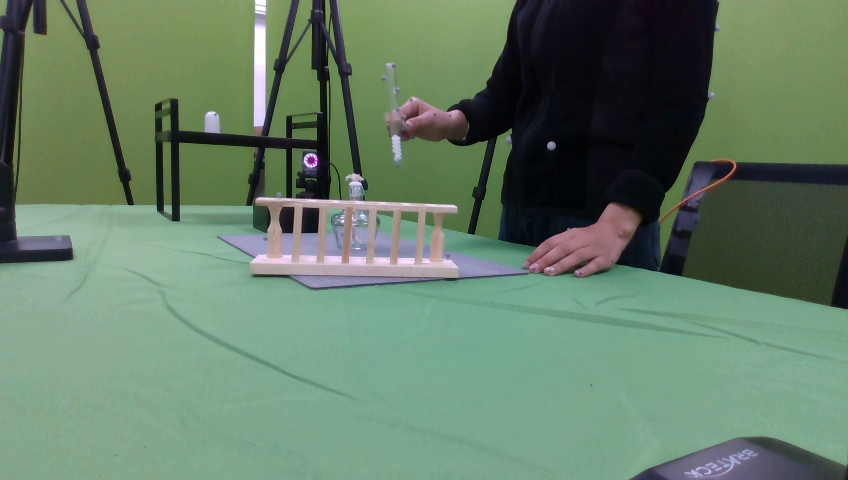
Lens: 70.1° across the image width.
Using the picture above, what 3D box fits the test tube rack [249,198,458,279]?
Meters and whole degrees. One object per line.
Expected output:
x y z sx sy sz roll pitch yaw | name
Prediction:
-0.082 -0.002 0.732 0.243 0.085 0.066 2 8 -8 | test tube rack

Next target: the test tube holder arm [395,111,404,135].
-0.040 -0.191 0.999 0.013 0.015 0.178 -8 3 1 | test tube holder arm

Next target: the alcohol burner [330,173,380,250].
-0.107 -0.044 0.938 0.078 0.119 0.078 1 6 0 | alcohol burner

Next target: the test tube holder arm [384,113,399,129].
-0.048 -0.187 0.955 0.010 0.015 0.088 -8 3 9 | test tube holder arm

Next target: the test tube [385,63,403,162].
-0.046 -0.195 0.931 0.017 0.150 0.017 -4 4 1 | test tube

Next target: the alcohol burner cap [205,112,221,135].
-0.443 -0.245 1.270 0.034 0.048 0.034 3 8 0 | alcohol burner cap
